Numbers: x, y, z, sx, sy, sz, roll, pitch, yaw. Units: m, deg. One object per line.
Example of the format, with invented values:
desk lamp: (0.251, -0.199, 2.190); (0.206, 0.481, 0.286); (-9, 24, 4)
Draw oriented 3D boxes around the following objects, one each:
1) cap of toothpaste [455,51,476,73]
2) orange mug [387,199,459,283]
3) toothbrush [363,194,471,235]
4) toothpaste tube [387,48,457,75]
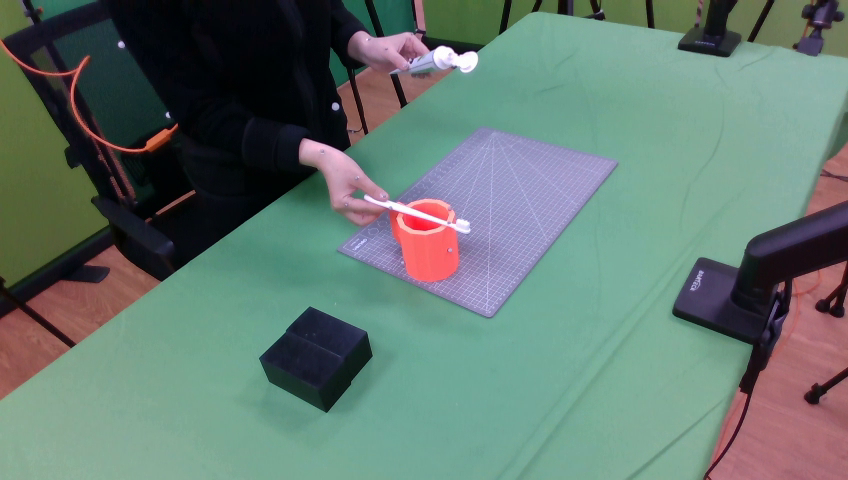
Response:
cap of toothpaste: (0.065, -0.281, 0.950); (0.037, 0.011, 0.037); (-9, 73, 35)
orange mug: (-0.006, -0.007, 0.922); (0.125, 0.101, 0.084); (33, 54, 32)
toothbrush: (-0.014, -0.041, 0.879); (0.181, 0.017, 0.014); (18, 42, 24)
toothpaste tube: (0.001, -0.293, 1.012); (0.055, 0.034, 0.164); (-11, 11, -32)
